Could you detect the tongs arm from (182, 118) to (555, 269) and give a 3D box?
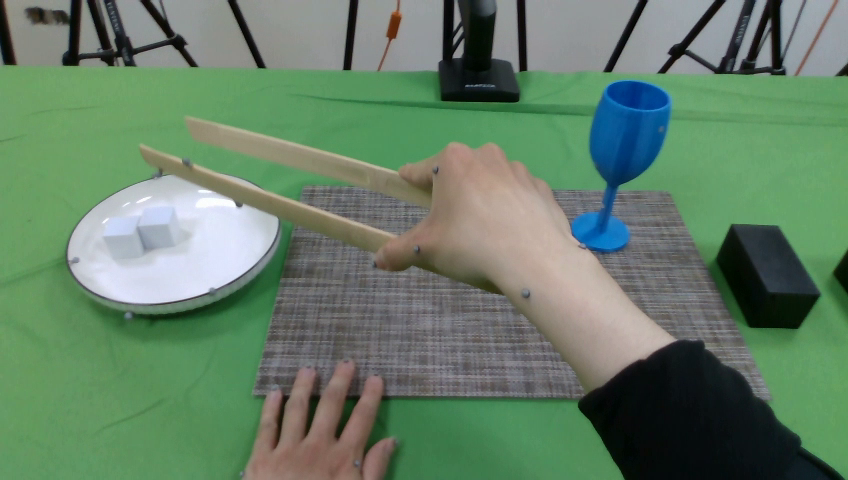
[{"bbox_3d":[-0.069,-0.051,0.492,0.384,0.028,0.028,19,45,28],"label":"tongs arm"}]

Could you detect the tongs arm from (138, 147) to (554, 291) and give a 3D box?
[{"bbox_3d":[-0.086,-0.031,0.473,0.382,0.027,0.050,20,48,29],"label":"tongs arm"}]

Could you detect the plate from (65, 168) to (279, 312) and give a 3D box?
[{"bbox_3d":[-0.255,-0.001,0.633,0.209,0.038,0.207,1,42,-1],"label":"plate"}]

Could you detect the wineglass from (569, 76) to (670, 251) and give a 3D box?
[{"bbox_3d":[0.198,-0.076,0.628,0.074,0.174,0.073,1,42,-1],"label":"wineglass"}]
